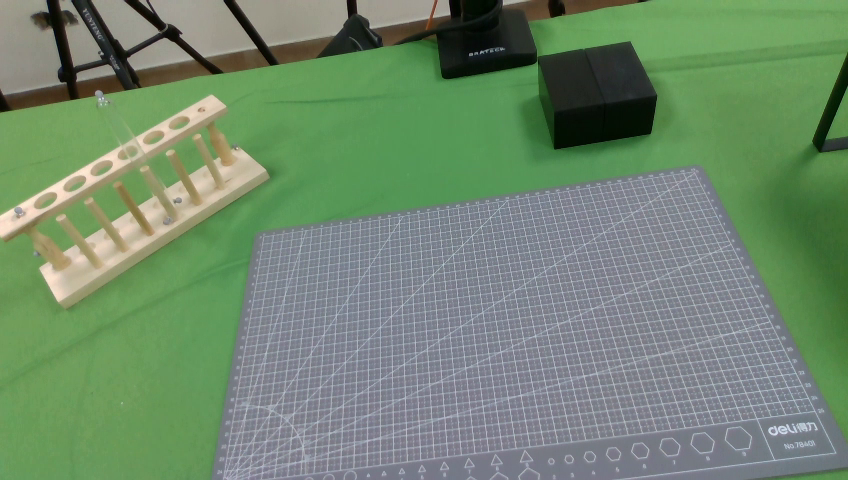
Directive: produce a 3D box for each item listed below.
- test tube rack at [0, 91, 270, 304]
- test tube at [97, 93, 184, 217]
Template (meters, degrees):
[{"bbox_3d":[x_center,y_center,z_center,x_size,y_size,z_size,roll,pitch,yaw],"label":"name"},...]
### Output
[{"bbox_3d":[-0.290,-0.049,0.627,0.242,0.086,0.066,-38,53,-20],"label":"test tube rack"},{"bbox_3d":[-0.272,-0.078,0.588,0.017,0.152,0.017,-5,48,6],"label":"test tube"}]
